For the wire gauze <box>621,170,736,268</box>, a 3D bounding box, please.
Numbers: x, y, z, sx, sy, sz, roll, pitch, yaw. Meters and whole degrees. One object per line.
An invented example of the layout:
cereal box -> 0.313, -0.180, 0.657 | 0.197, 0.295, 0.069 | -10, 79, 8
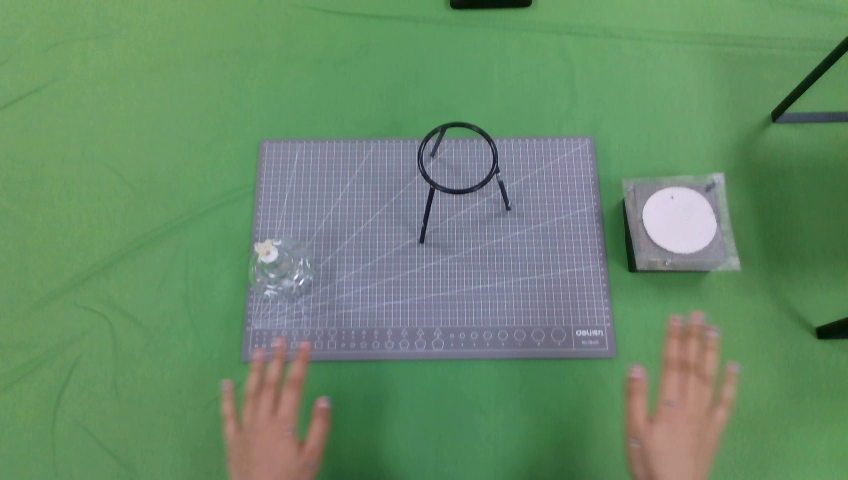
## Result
wire gauze -> 0.305, -0.025, 0.725 | 0.125, 0.011, 0.121 | -1, 74, 0

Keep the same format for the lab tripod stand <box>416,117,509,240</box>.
lab tripod stand -> 0.034, -0.078, 0.725 | 0.148, 0.132, 0.147 | -1, 72, 2

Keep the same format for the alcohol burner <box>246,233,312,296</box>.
alcohol burner -> -0.171, 0.024, 0.702 | 0.078, 0.119, 0.077 | 0, 73, 0
